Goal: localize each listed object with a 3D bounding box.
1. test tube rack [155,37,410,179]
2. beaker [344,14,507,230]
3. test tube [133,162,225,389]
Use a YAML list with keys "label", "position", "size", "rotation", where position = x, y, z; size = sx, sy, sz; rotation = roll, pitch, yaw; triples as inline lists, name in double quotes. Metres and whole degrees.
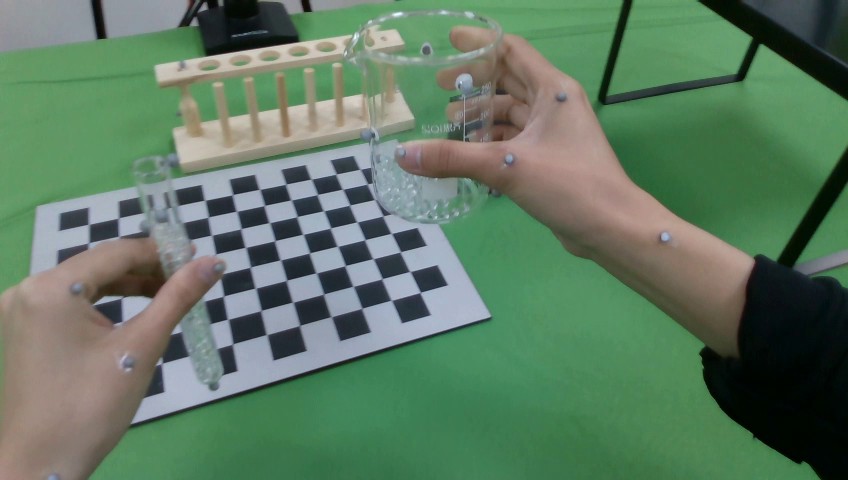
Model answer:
- label: "test tube rack"
  position: [-0.139, -0.141, 0.631]
  size: [0.243, 0.086, 0.066]
  rotation: [-15, 47, -17]
- label: "beaker"
  position: [0.001, -0.062, 0.334]
  size: [0.084, 0.101, 0.073]
  rotation: [-14, 39, -15]
- label: "test tube"
  position: [-0.124, 0.027, 0.315]
  size: [0.017, 0.151, 0.017]
  rotation: [1, 39, -1]
